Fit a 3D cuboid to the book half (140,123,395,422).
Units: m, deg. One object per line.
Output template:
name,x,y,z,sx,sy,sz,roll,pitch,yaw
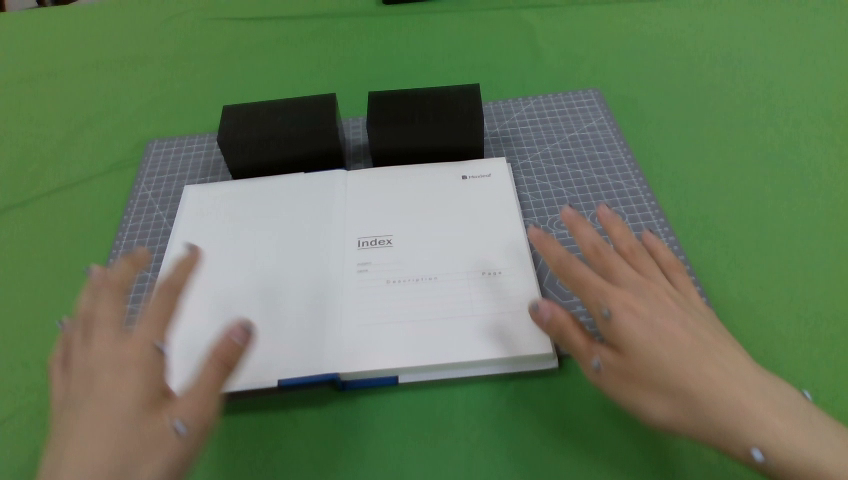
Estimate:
book half,-0.099,0.012,0.399,0.144,0.007,0.208,3,60,-19
